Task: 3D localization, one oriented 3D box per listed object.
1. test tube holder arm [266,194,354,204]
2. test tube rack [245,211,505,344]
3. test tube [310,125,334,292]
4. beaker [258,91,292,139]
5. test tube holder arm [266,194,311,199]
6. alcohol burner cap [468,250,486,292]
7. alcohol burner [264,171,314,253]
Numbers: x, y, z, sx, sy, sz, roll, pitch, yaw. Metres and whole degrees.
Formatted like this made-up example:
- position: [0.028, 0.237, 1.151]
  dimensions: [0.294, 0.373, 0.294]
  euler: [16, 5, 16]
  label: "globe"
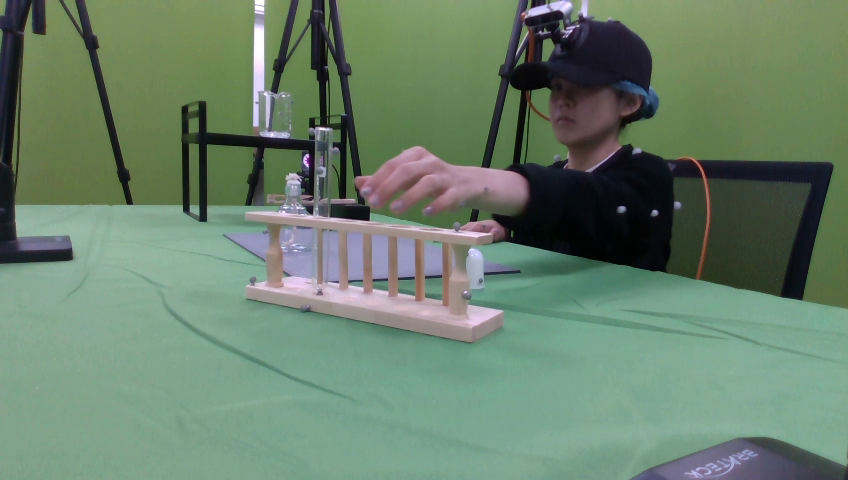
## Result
- position: [-0.222, -0.082, 1.196]
  dimensions: [0.179, 0.013, 0.015]
  euler: [-4, 2, -30]
  label: "test tube holder arm"
- position: [-0.049, 0.025, 0.547]
  dimensions: [0.241, 0.085, 0.067]
  euler: [7, 8, 29]
  label: "test tube rack"
- position: [-0.092, -0.027, 0.543]
  dimensions: [0.017, 0.150, 0.017]
  euler: [4, 10, 0]
  label: "test tube"
- position: [-0.331, -0.276, 1.343]
  dimensions: [0.074, 0.100, 0.083]
  euler: [0, 8, -20]
  label: "beaker"
- position: [-0.262, -0.084, 1.173]
  dimensions: [0.088, 0.010, 0.015]
  euler: [-3, 1, -30]
  label: "test tube holder arm"
- position: [0.056, 0.035, 0.690]
  dimensions: [0.034, 0.048, 0.034]
  euler: [2, 7, 0]
  label: "alcohol burner cap"
- position: [-0.194, -0.042, 0.888]
  dimensions: [0.078, 0.119, 0.078]
  euler: [3, 5, 0]
  label: "alcohol burner"
